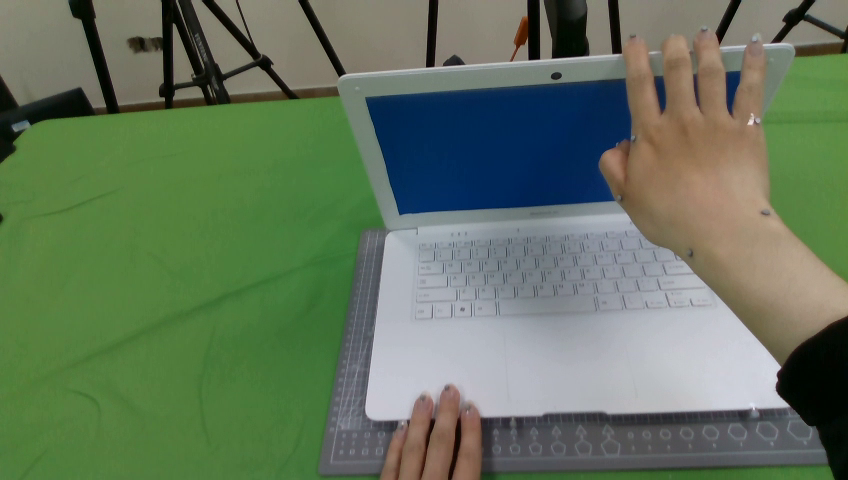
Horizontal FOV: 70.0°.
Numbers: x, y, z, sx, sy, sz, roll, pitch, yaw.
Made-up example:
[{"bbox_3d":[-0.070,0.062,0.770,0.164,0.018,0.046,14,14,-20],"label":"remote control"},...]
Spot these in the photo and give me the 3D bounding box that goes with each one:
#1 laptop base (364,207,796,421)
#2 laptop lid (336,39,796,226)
[{"bbox_3d":[0.127,0.063,0.580,0.354,0.023,0.233,-4,47,6],"label":"laptop base"},{"bbox_3d":[0.116,-0.082,0.561,0.356,0.244,0.013,-4,61,8],"label":"laptop lid"}]
